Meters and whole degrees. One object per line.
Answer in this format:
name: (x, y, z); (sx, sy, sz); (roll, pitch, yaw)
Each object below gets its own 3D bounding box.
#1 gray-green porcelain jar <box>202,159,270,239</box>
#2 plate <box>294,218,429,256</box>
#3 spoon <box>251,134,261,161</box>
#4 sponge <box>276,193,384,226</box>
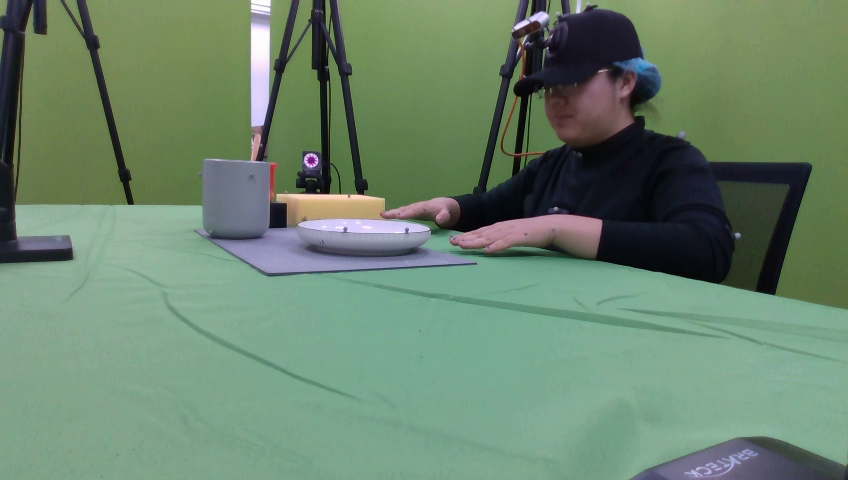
gray-green porcelain jar: (-0.310, -0.068, 0.999); (0.106, 0.126, 0.106); (3, 8, 0)
plate: (-0.096, -0.005, 0.936); (0.208, 0.039, 0.207); (3, 7, 0)
spoon: (-0.341, -0.152, 1.206); (0.042, 0.021, 0.193); (3, 51, -7)
sponge: (-0.202, -0.067, 1.312); (0.208, 0.061, 0.117); (-3, 9, -35)
